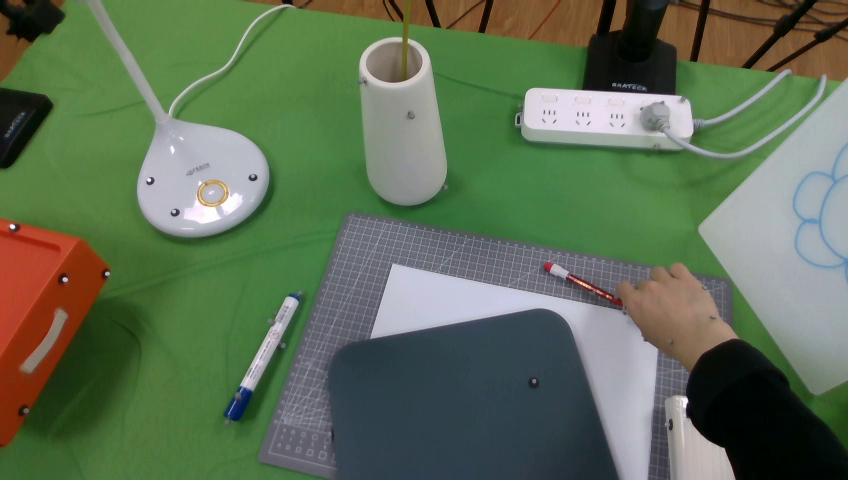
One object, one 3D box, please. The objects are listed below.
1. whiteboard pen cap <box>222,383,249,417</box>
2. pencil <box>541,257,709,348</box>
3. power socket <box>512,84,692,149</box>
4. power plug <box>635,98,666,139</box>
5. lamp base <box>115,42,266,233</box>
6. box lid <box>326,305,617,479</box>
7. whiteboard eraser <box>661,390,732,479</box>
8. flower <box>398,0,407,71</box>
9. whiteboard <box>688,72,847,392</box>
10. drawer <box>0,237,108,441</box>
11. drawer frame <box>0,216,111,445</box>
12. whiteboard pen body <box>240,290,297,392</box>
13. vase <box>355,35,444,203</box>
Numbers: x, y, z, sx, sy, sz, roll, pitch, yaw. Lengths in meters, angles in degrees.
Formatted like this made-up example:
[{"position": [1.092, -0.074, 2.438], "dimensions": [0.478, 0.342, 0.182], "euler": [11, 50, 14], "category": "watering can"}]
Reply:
[{"position": [-0.189, 0.161, 0.613], "dimensions": [0.018, 0.018, 0.033], "euler": [15, 57, 11], "category": "whiteboard pen cap"}, {"position": [0.212, 0.066, 0.652], "dimensions": [0.192, 0.012, 0.012], "euler": [29, 65, 22], "category": "pencil"}, {"position": [0.227, -0.159, 0.778], "dimensions": [0.226, 0.033, 0.071], "euler": [5, 62, 5], "category": "power socket"}, {"position": [0.274, -0.141, 0.739], "dimensions": [0.035, 0.053, 0.072], "euler": [14, 64, 11], "category": "power plug"}, {"position": [-0.289, -0.123, 0.691], "dimensions": [0.160, 0.182, 0.177], "euler": [-39, 63, -19], "category": "lamp base"}, {"position": [0.053, 0.244, 0.569], "dimensions": [0.263, 0.015, 0.368], "euler": [-10, 62, -4], "category": "box lid"}, {"position": [0.254, 0.199, 0.567], "dimensions": [0.055, 0.042, 0.112], "euler": [6, 61, 4], "category": "whiteboard eraser"}, {"position": [-0.022, -0.183, 0.610], "dimensions": [0.038, 0.365, 0.043], "euler": [0, 42, -6], "category": "flower"}, {"position": [0.451, -0.027, 0.574], "dimensions": [0.144, 0.307, 0.215], "euler": [-9, 58, -24], "category": "whiteboard"}, {"position": [-0.461, 0.070, 0.594], "dimensions": [0.211, 0.074, 0.193], "euler": [13, 63, 9], "category": "drawer"}, {"position": [-0.467, 0.071, 0.596], "dimensions": [0.213, 0.083, 0.200], "euler": [14, 63, 7], "category": "drawer frame"}, {"position": [-0.169, 0.114, 0.643], "dimensions": [0.017, 0.017, 0.140], "euler": [14, 58, 11], "category": "whiteboard pen body"}, {"position": [-0.029, -0.128, 0.674], "dimensions": [0.098, 0.202, 0.097], "euler": [-2, 60, 3], "category": "vase"}]
